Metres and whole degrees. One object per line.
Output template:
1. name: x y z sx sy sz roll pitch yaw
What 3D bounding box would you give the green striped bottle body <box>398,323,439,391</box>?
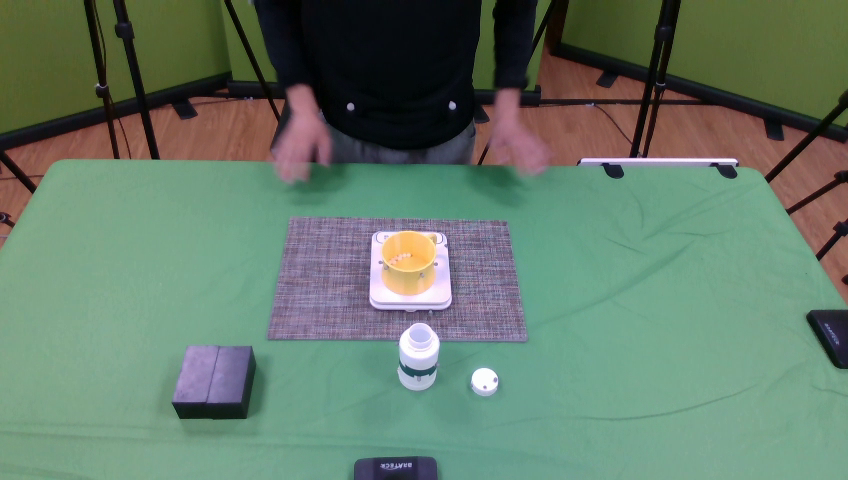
1. green striped bottle body: -0.010 0.181 0.956 0.063 0.120 0.063 2 46 -2

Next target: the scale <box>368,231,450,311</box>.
1. scale: -0.029 0.048 1.137 0.149 0.032 0.199 1 46 -4

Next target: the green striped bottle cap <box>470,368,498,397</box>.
1. green striped bottle cap: 0.098 0.232 0.989 0.044 0.020 0.044 2 42 -1

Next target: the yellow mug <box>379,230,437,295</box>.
1. yellow mug: -0.020 0.030 1.089 0.099 0.064 0.130 31 51 24
